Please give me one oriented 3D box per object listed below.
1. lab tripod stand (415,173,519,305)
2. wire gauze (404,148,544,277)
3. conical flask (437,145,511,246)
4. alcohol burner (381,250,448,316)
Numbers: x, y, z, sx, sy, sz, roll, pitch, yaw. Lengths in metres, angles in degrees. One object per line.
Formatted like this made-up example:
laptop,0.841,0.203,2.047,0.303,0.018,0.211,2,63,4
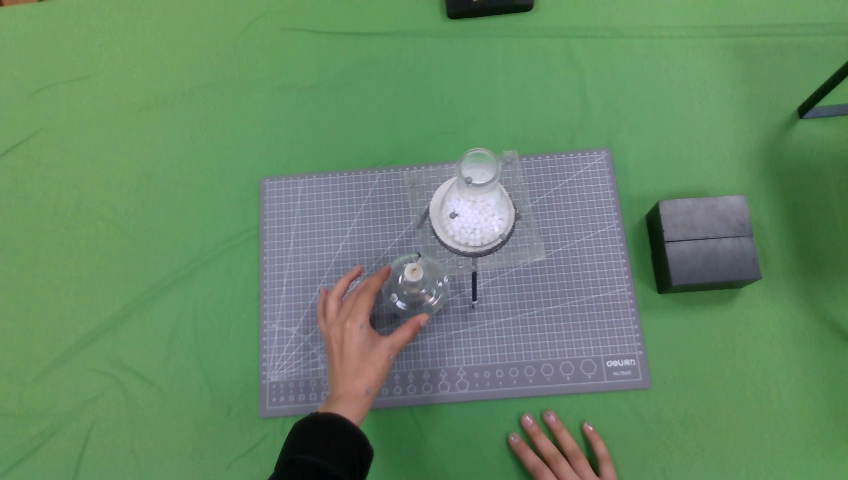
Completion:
lab tripod stand,0.054,-0.013,0.680,0.148,0.132,0.147,-1,72,2
wire gauze,0.050,-0.029,0.617,0.125,0.011,0.121,-10,76,-4
conical flask,0.048,-0.045,0.559,0.075,0.122,0.075,-1,73,2
alcohol burner,-0.011,0.044,0.677,0.078,0.120,0.077,0,73,1
